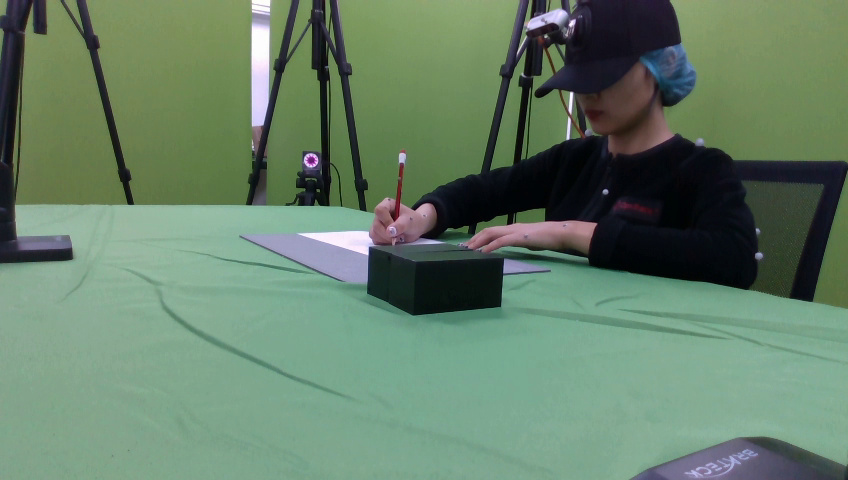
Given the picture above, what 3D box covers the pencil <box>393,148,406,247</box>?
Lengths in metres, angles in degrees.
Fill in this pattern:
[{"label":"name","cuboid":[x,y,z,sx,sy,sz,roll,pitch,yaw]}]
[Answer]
[{"label":"pencil","cuboid":[-0.041,-0.073,0.989,0.012,0.193,0.012,3,-30,2]}]
